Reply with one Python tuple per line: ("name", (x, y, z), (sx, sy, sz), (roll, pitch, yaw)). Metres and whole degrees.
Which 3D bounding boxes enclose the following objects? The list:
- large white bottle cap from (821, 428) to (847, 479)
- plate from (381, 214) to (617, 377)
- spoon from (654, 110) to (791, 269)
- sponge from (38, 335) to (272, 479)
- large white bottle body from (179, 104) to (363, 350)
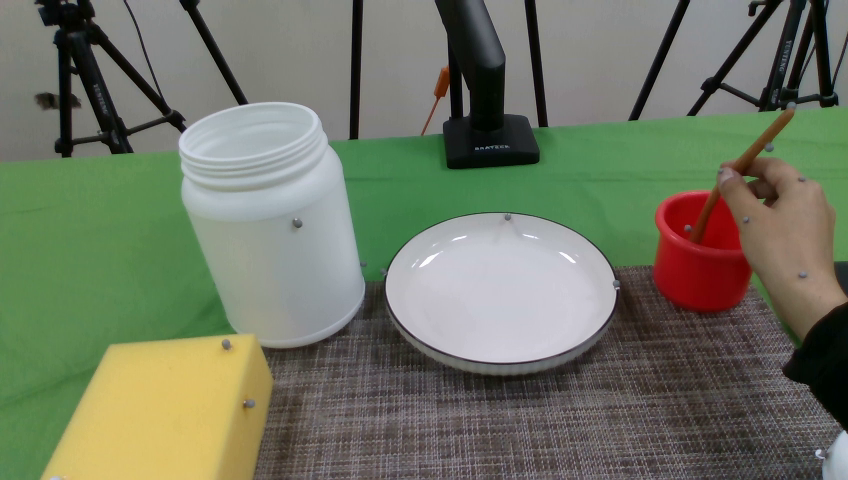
("large white bottle cap", (0.324, 0.168, 0.391), (0.115, 0.018, 0.113), (-1, 37, 1))
("plate", (0.067, 0.049, 0.553), (0.209, 0.038, 0.207), (-2, 37, 2))
("spoon", (0.245, -0.034, 0.512), (0.021, 0.195, 0.041), (39, 56, 22))
("sponge", (-0.184, 0.162, 0.411), (0.118, 0.061, 0.205), (-5, 36, 1))
("large white bottle body", (-0.130, -0.011, 0.528), (0.130, 0.186, 0.129), (-4, 35, 3))
